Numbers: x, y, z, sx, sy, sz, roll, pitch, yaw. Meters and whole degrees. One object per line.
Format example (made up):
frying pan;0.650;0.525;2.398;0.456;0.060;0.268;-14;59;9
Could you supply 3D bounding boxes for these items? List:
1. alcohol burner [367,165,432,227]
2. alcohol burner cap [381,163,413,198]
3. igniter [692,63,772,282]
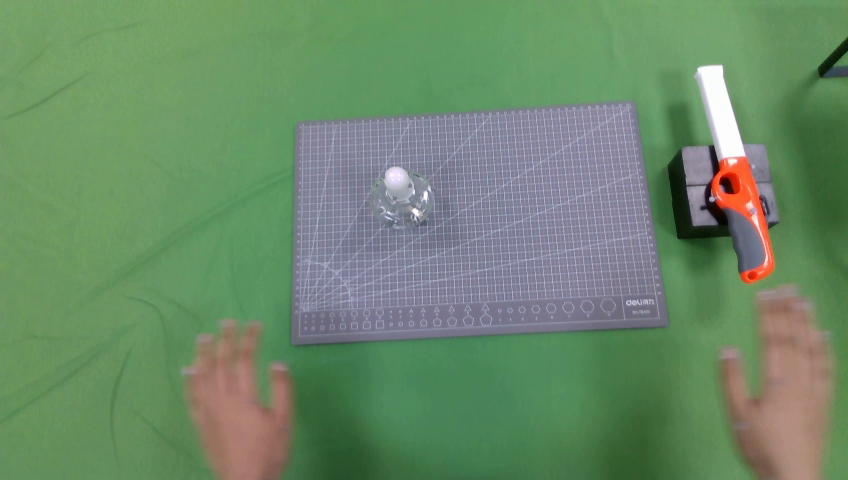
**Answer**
alcohol burner;-0.030;-0.059;0.715;0.078;0.120;0.077;0;73;1
alcohol burner cap;-0.032;-0.068;0.681;0.034;0.048;0.033;-1;78;7
igniter;0.357;-0.085;0.706;0.057;0.025;0.274;-4;71;2
